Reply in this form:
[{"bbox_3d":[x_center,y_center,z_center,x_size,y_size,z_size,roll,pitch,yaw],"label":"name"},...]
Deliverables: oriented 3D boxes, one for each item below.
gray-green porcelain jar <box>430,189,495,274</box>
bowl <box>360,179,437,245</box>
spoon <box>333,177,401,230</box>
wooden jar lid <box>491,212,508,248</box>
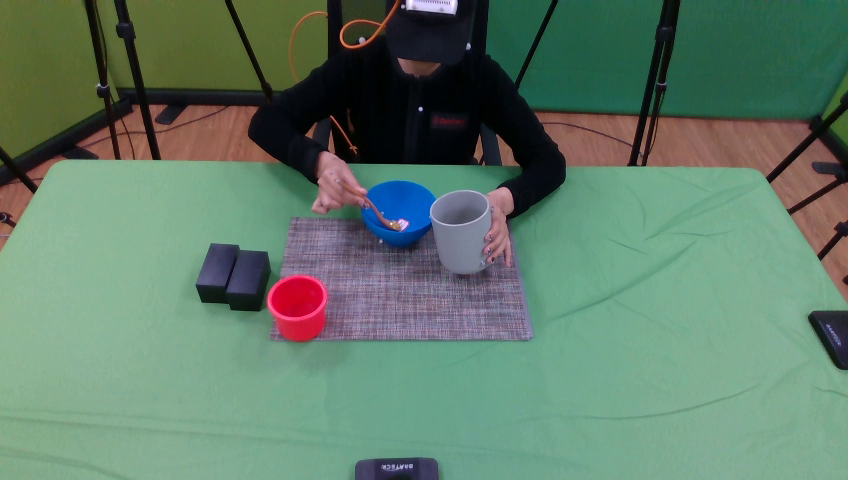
[{"bbox_3d":[0.072,-0.011,1.085,0.106,0.127,0.105,-8,39,7],"label":"gray-green porcelain jar"},{"bbox_3d":[-0.049,-0.043,1.190,0.151,0.077,0.150,2,46,-2],"label":"bowl"},{"bbox_3d":[-0.104,-0.067,1.129,0.021,0.195,0.041,-43,45,3],"label":"spoon"},{"bbox_3d":[0.115,-0.018,1.220,0.108,0.021,0.107,3,47,-3],"label":"wooden jar lid"}]
